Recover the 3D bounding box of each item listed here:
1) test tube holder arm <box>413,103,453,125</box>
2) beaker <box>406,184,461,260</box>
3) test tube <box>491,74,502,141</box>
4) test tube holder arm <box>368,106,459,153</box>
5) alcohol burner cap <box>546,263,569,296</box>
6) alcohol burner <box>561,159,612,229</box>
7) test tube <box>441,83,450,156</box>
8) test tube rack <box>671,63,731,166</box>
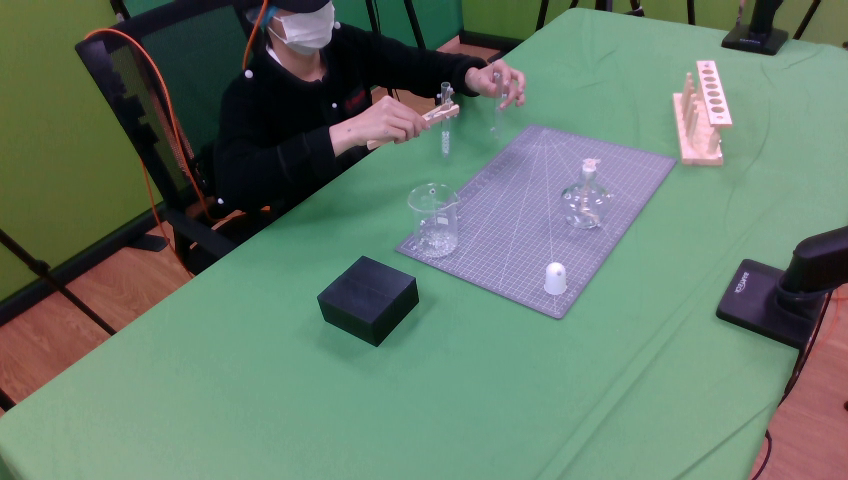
[{"bbox_3d":[0.016,-0.208,1.020,0.088,0.015,0.010,-35,49,-29],"label":"test tube holder arm"},{"bbox_3d":[0.019,-0.026,0.939,0.084,0.101,0.074,1,41,9],"label":"beaker"},{"bbox_3d":[0.134,-0.240,1.115,0.017,0.151,0.017,-2,52,3],"label":"test tube"},{"bbox_3d":[-0.015,-0.184,0.997,0.179,0.015,0.013,-30,46,-25],"label":"test tube holder arm"},{"bbox_3d":[0.191,0.053,0.862,0.034,0.048,0.033,-5,40,4],"label":"alcohol burner cap"},{"bbox_3d":[0.257,-0.077,0.951,0.078,0.119,0.077,-3,40,3],"label":"alcohol burner"},{"bbox_3d":[0.037,-0.204,1.044,0.017,0.151,0.017,-1,49,2],"label":"test tube"},{"bbox_3d":[0.513,-0.241,1.132,0.066,0.085,0.242,4,41,14],"label":"test tube rack"}]
